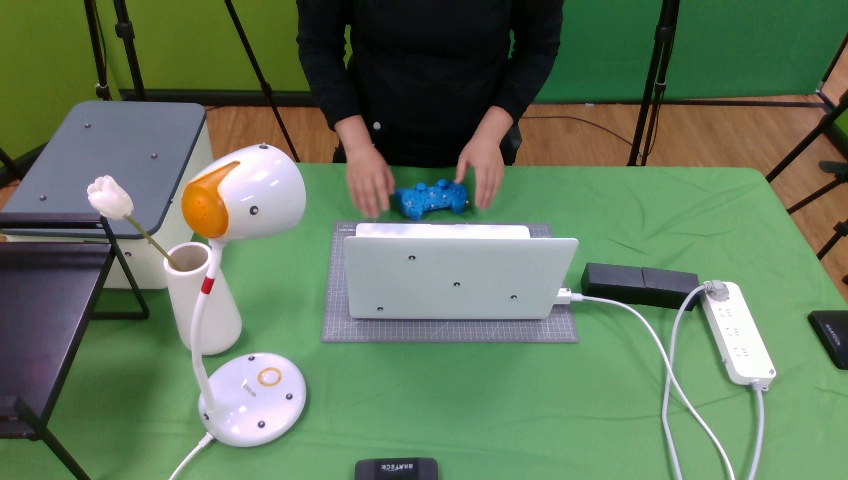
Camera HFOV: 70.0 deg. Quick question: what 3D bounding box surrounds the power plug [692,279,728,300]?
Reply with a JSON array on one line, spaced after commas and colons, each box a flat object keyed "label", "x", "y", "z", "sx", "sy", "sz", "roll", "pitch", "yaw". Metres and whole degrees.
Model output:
[{"label": "power plug", "x": 0.522, "y": 0.091, "z": 1.116, "sx": 0.072, "sy": 0.053, "sz": 0.035, "roll": 10, "pitch": 47, "yaw": 8}]

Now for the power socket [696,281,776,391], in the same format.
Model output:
[{"label": "power socket", "x": 0.550, "y": 0.161, "z": 1.078, "sx": 0.072, "sy": 0.033, "sz": 0.225, "roll": 2, "pitch": 46, "yaw": -2}]

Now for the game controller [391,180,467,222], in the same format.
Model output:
[{"label": "game controller", "x": 0.016, "y": -0.092, "z": 1.273, "sx": 0.155, "sy": 0.052, "sz": 0.096, "roll": -11, "pitch": 51, "yaw": -14}]

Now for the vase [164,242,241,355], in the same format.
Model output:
[{"label": "vase", "x": -0.349, "y": 0.096, "z": 0.954, "sx": 0.098, "sy": 0.201, "sz": 0.097, "roll": 3, "pitch": 47, "yaw": -3}]

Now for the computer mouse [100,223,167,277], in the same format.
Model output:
[{"label": "computer mouse", "x": -0.539, "y": 0.015, "z": 1.122, "sx": 0.062, "sy": 0.041, "sz": 0.117, "roll": 30, "pitch": 57, "yaw": 18}]

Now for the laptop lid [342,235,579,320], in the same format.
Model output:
[{"label": "laptop lid", "x": 0.051, "y": 0.067, "z": 0.973, "sx": 0.357, "sy": 0.243, "sz": 0.013, "roll": 1, "pitch": 52, "yaw": -5}]

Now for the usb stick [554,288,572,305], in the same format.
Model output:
[{"label": "usb stick", "x": 0.236, "y": 0.103, "z": 1.101, "sx": 0.059, "sy": 0.027, "sz": 0.021, "roll": -2, "pitch": 46, "yaw": 1}]

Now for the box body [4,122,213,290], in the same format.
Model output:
[{"label": "box body", "x": -0.563, "y": -0.086, "z": 1.138, "sx": 0.254, "sy": 0.161, "sz": 0.361, "roll": 2, "pitch": 46, "yaw": -3}]

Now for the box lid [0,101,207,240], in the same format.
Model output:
[{"label": "box lid", "x": -0.559, "y": -0.137, "z": 1.083, "sx": 0.263, "sy": 0.015, "sz": 0.369, "roll": 2, "pitch": 46, "yaw": -2}]

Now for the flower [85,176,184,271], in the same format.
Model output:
[{"label": "flower", "x": -0.365, "y": 0.038, "z": 0.894, "sx": 0.038, "sy": 0.364, "sz": 0.044, "roll": -6, "pitch": 53, "yaw": 14}]

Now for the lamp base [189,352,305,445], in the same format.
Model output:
[{"label": "lamp base", "x": -0.268, "y": 0.196, "z": 0.876, "sx": 0.160, "sy": 0.181, "sz": 0.179, "roll": 26, "pitch": 52, "yaw": 19}]

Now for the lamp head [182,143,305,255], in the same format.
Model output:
[{"label": "lamp head", "x": -0.216, "y": -0.044, "z": 0.697, "sx": 0.112, "sy": 0.113, "sz": 0.123, "roll": 23, "pitch": 31, "yaw": 17}]

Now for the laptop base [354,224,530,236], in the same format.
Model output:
[{"label": "laptop base", "x": 0.040, "y": 0.056, "z": 1.149, "sx": 0.355, "sy": 0.023, "sz": 0.234, "roll": 1, "pitch": 43, "yaw": -4}]
